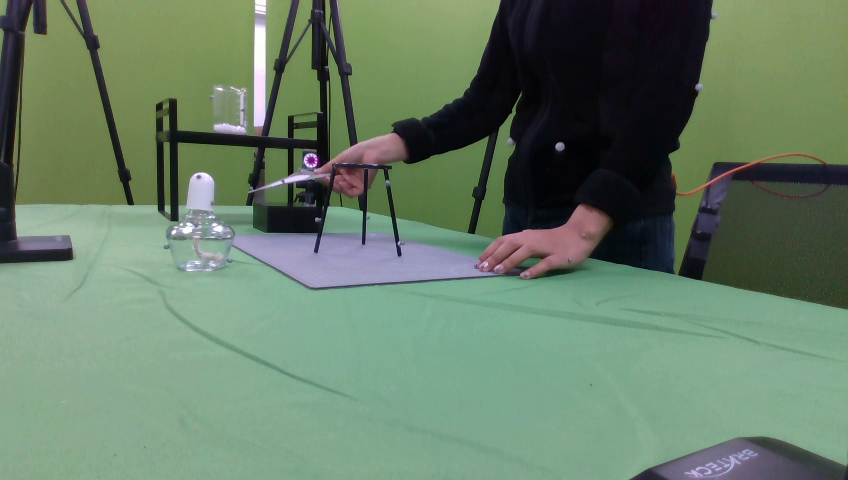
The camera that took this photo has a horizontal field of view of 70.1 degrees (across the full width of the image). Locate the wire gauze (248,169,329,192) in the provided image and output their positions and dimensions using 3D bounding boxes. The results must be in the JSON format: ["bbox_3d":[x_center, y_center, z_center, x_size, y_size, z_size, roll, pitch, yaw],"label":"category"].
[{"bbox_3d":[-0.253,-0.111,1.115,0.125,0.011,0.121,-24,17,-28],"label":"wire gauze"}]

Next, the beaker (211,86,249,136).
[{"bbox_3d":[-0.413,-0.274,1.297,0.074,0.100,0.083,-5,11,-44],"label":"beaker"}]

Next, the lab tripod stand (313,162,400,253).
[{"bbox_3d":[-0.097,-0.051,0.906,0.148,0.131,0.148,1,6,0],"label":"lab tripod stand"}]

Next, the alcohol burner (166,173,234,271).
[{"bbox_3d":[-0.271,-0.022,0.735,0.078,0.119,0.078,2,5,0],"label":"alcohol burner"}]

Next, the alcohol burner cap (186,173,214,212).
[{"bbox_3d":[-0.268,-0.057,0.730,0.034,0.048,0.034,5,2,0],"label":"alcohol burner cap"}]
